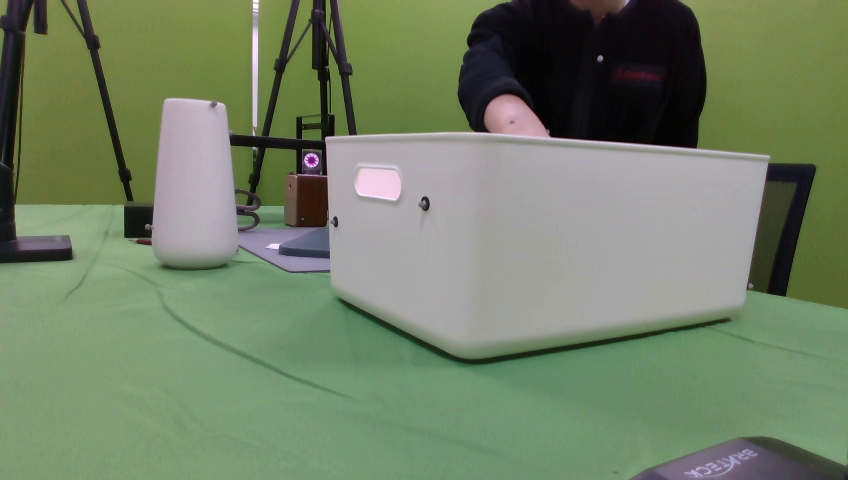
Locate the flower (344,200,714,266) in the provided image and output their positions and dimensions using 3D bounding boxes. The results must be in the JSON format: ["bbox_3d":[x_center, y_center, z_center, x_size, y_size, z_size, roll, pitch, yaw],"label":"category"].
[{"bbox_3d":[0.098,0.002,0.599,0.362,0.044,0.038,-7,51,5],"label":"flower"}]

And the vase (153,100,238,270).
[{"bbox_3d":[-0.278,-0.066,0.736,0.098,0.200,0.098,2,9,0],"label":"vase"}]

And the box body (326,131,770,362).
[{"bbox_3d":[0.112,-0.010,0.583,0.366,0.160,0.253,-2,9,-32],"label":"box body"}]

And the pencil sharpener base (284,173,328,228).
[{"bbox_3d":[-0.239,-0.081,1.231,0.077,0.107,0.061,-2,8,-36],"label":"pencil sharpener base"}]

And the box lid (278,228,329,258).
[{"bbox_3d":[-0.019,0.012,0.950,0.371,0.015,0.263,4,7,4],"label":"box lid"}]

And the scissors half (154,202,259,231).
[{"bbox_3d":[-0.375,-0.046,1.051,0.176,0.040,0.013,13,-2,-28],"label":"scissors half"}]

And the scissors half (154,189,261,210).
[{"bbox_3d":[-0.373,-0.066,1.049,0.176,0.040,0.012,-6,13,-27],"label":"scissors half"}]

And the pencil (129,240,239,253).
[{"bbox_3d":[-0.350,0.008,0.874,0.193,0.012,0.012,4,7,19],"label":"pencil"}]
